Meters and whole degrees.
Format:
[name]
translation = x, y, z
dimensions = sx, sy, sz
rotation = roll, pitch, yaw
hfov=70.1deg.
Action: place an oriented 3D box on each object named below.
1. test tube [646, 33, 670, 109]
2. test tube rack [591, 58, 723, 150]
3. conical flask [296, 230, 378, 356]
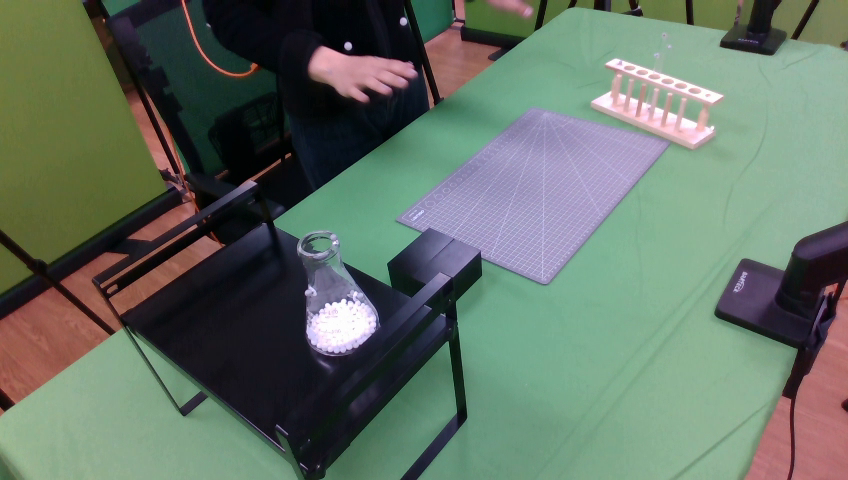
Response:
[test tube]
translation = 0.445, -0.319, 1.154
dimensions = 0.017, 0.151, 0.017
rotation = -1, 41, 2
[test tube rack]
translation = 0.442, -0.269, 1.171
dimensions = 0.067, 0.085, 0.240
rotation = -30, 46, -24
[conical flask]
translation = -0.090, 0.048, 0.578
dimensions = 0.075, 0.122, 0.075
rotation = -5, 41, 5
